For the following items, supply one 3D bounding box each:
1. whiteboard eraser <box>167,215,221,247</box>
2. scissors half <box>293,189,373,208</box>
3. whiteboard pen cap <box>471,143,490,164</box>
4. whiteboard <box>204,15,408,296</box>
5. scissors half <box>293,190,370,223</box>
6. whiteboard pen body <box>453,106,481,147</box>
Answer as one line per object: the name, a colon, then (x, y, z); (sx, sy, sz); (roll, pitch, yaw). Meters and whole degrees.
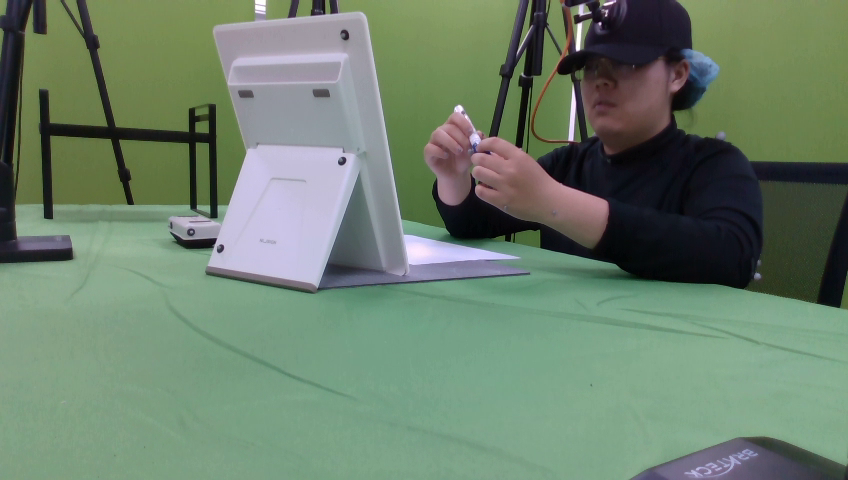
whiteboard eraser: (-0.350, -0.014, 0.920); (0.056, 0.042, 0.112); (0, 7, -35)
scissors half: (-0.201, -0.096, 1.333); (0.175, 0.040, 0.013); (5, 18, -4)
whiteboard pen cap: (0.078, -0.122, 0.845); (0.018, 0.018, 0.033); (-1, 43, -26)
whiteboard: (-0.166, -0.072, 0.669); (0.216, 0.305, 0.144); (8, 30, 30)
scissors half: (-0.205, -0.077, 1.338); (0.175, 0.040, 0.013); (22, 11, -8)
whiteboard pen body: (0.065, -0.163, 0.896); (0.017, 0.017, 0.140); (1, 37, -15)
